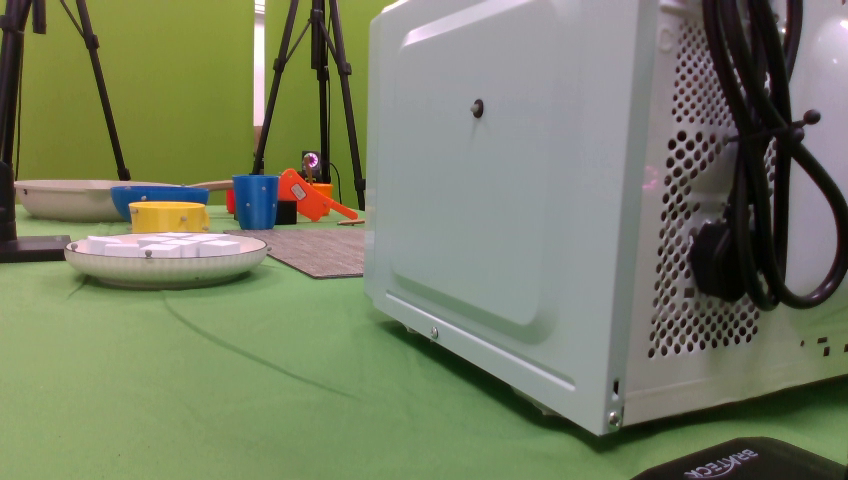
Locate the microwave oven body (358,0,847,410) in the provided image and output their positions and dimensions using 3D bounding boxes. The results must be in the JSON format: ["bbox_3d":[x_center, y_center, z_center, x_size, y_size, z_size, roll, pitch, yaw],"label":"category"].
[{"bbox_3d":[0.210,-0.051,0.471,0.444,0.260,0.324,-1,7,-28],"label":"microwave oven body"}]

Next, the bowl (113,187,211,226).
[{"bbox_3d":[-0.436,-0.046,1.013,0.151,0.077,0.151,2,7,0],"label":"bowl"}]

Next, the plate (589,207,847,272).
[{"bbox_3d":[0.246,-0.002,0.510,0.209,0.038,0.209,3,6,0],"label":"plate"}]

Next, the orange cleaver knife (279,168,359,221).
[{"bbox_3d":[-0.236,-0.084,1.333,0.212,0.077,0.012,31,-9,-31],"label":"orange cleaver knife"}]

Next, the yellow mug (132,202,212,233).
[{"bbox_3d":[-0.356,-0.020,0.878,0.099,0.064,0.131,5,7,22],"label":"yellow mug"}]

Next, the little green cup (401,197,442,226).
[{"bbox_3d":[-0.005,-0.043,0.906,0.061,0.038,0.061,3,9,0],"label":"little green cup"}]

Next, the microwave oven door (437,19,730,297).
[{"bbox_3d":[0.181,-0.076,0.618,0.358,0.243,0.039,-2,9,-28],"label":"microwave oven door"}]

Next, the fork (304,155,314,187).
[{"bbox_3d":[-0.268,-0.134,1.446,0.028,0.018,0.207,1,-36,-1],"label":"fork"}]

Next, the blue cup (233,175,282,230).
[{"bbox_3d":[-0.314,-0.071,1.141,0.093,0.100,0.092,0,7,0],"label":"blue cup"}]

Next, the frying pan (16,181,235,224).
[{"bbox_3d":[-0.553,-0.097,1.266,0.490,0.102,0.305,-10,13,-24],"label":"frying pan"}]

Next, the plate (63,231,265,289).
[{"bbox_3d":[-0.288,0.021,0.687,0.208,0.039,0.207,2,8,0],"label":"plate"}]

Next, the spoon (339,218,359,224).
[{"bbox_3d":[-0.087,-0.041,1.268,0.193,0.021,0.041,4,20,13],"label":"spoon"}]

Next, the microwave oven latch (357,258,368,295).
[{"bbox_3d":[-0.019,0.031,0.529,0.079,0.029,0.030,-1,7,-26],"label":"microwave oven latch"}]

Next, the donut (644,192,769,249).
[{"bbox_3d":[0.239,-0.016,0.518,0.099,0.048,0.099,2,4,0],"label":"donut"}]
